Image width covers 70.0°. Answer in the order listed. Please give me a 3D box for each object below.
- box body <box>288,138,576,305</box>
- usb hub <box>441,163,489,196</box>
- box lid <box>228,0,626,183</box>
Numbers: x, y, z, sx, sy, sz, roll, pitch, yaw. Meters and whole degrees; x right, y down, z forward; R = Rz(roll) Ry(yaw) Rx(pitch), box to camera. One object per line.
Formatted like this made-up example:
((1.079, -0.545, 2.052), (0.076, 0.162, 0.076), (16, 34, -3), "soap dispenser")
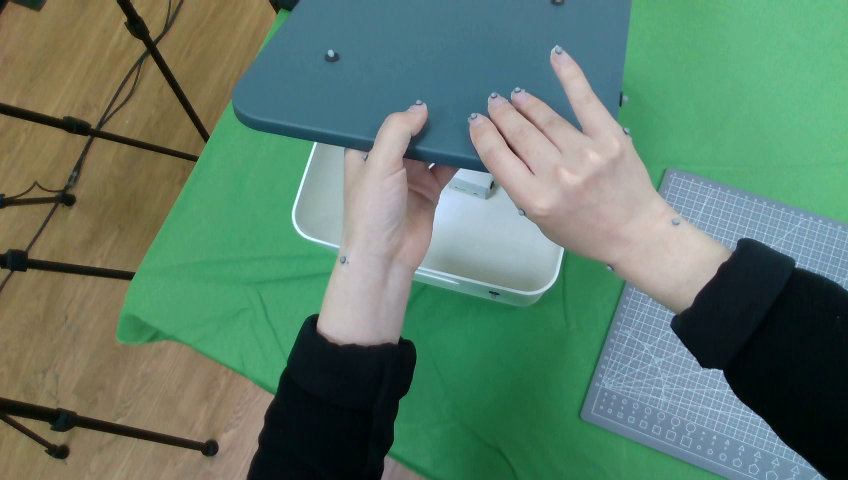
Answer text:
((0.044, -0.129, 0.652), (0.253, 0.161, 0.363), (14, 79, 10), "box body")
((0.065, -0.116, 0.708), (0.049, 0.025, 0.125), (20, 78, 13), "usb hub")
((0.030, -0.193, 0.495), (0.263, 0.015, 0.368), (11, 52, 9), "box lid")
